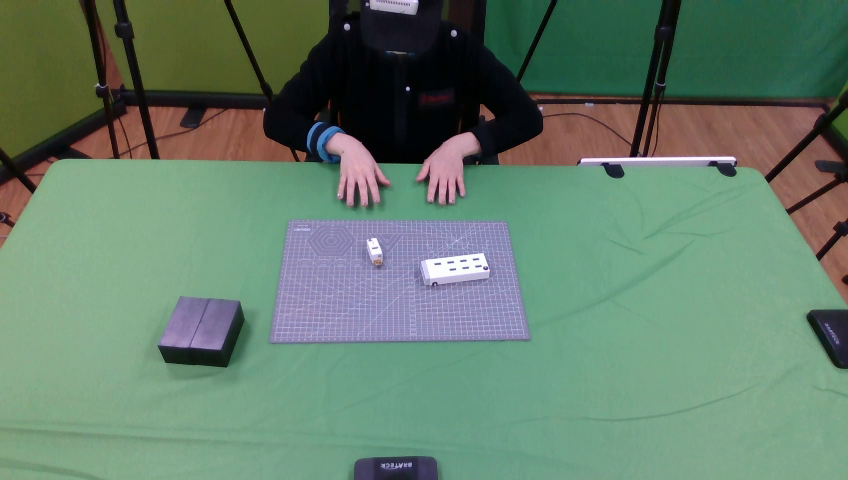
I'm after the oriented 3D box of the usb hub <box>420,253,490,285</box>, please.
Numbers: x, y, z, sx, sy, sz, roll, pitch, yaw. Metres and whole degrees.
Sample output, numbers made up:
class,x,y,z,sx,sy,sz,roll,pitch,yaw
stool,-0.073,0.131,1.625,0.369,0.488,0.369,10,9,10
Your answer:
class,x,y,z,sx,sy,sz,roll,pitch,yaw
usb hub,0.059,0.055,1.142,0.125,0.025,0.049,-7,47,-10

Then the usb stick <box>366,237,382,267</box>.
class,x,y,z,sx,sy,sz,roll,pitch,yaw
usb stick,-0.093,0.025,1.159,0.021,0.027,0.059,-10,51,-15
